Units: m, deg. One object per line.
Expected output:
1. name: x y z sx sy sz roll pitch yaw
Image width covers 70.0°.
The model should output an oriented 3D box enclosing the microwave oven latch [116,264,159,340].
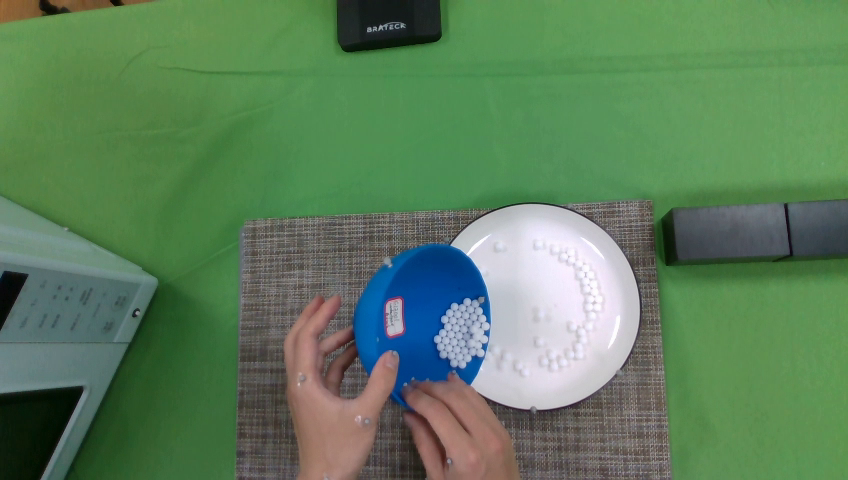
1. microwave oven latch: -0.324 0.069 0.669 0.030 0.029 0.079 25 87 12

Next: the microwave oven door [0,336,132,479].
1. microwave oven door: -0.433 0.250 0.555 0.039 0.245 0.355 24 86 13

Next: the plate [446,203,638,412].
1. plate: 0.106 0.067 0.615 0.207 0.039 0.207 -1 81 9

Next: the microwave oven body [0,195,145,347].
1. microwave oven body: -0.546 0.156 0.593 0.325 0.261 0.441 24 86 12

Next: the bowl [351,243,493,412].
1. bowl: -0.014 0.077 0.563 0.076 0.153 0.151 1 79 45
